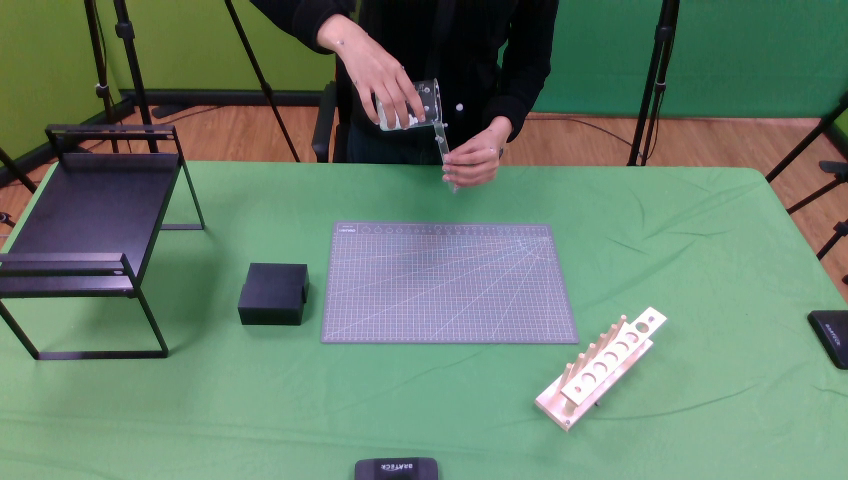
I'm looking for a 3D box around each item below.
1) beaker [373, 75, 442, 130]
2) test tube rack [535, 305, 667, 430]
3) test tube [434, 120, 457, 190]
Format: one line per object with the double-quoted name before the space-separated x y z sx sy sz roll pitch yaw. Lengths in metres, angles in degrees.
"beaker" -0.027 -0.214 0.963 0.100 0.084 0.073 -8 43 -2
"test tube rack" 0.290 0.193 0.984 0.242 0.085 0.066 -32 56 -30
"test tube" 0.038 -0.143 1.045 0.017 0.151 0.017 -8 47 9
